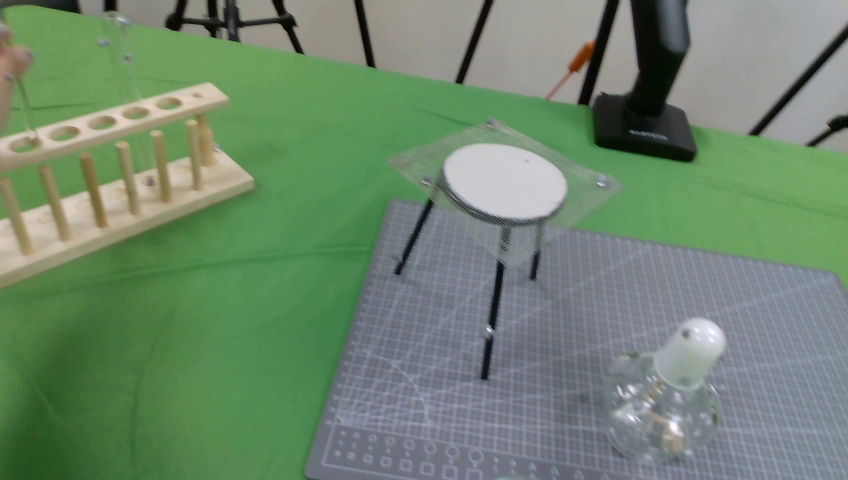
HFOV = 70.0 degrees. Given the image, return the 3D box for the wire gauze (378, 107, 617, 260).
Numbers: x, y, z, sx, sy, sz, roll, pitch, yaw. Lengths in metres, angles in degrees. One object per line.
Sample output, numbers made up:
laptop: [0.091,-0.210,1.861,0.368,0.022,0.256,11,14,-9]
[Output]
wire gauze: [0.051,-0.050,0.416,0.121,0.011,0.124,-30,56,-34]

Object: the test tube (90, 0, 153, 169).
test tube: [-0.252,-0.125,0.510,0.017,0.151,0.017,3,40,-2]

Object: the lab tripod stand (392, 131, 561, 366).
lab tripod stand: [0.046,-0.001,0.461,0.148,0.132,0.147,6,44,-5]

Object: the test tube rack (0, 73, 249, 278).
test tube rack: [-0.275,-0.059,0.509,0.242,0.086,0.066,-30,55,-35]

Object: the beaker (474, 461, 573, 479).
beaker: [0.040,0.170,0.305,0.084,0.101,0.073,3,42,-5]

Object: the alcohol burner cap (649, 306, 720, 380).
alcohol burner cap: [0.164,0.062,0.375,0.034,0.048,0.033,4,46,-4]

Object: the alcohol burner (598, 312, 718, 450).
alcohol burner: [0.160,0.087,0.401,0.078,0.120,0.077,6,42,-5]

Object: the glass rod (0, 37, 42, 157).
glass rod: [-0.301,-0.113,0.442,0.008,0.201,0.008,2,34,-1]
